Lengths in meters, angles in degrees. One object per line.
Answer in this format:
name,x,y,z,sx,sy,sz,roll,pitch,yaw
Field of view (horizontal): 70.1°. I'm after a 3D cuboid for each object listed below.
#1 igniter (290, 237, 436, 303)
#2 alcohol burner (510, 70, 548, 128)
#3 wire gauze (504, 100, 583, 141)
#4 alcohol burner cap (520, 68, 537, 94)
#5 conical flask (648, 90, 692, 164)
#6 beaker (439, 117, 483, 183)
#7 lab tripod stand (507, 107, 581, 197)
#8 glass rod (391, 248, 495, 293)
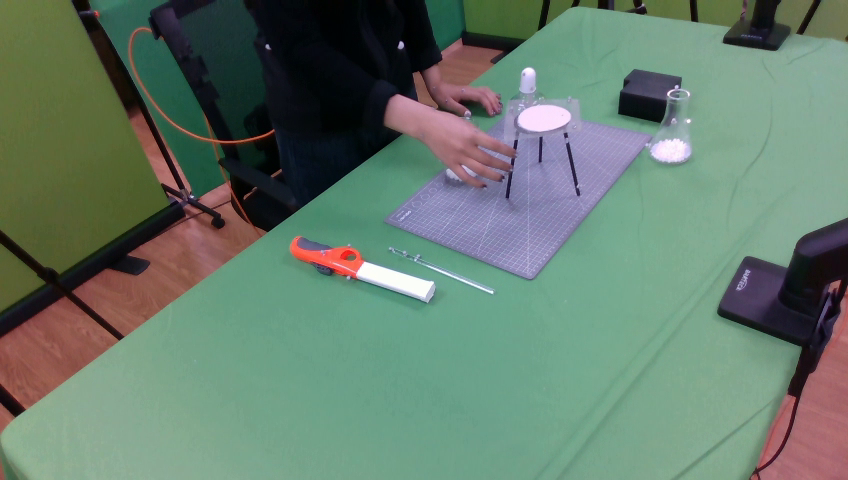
igniter,-0.106,0.044,0.949,0.274,0.025,0.057,16,57,27
alcohol burner,0.209,-0.287,1.208,0.078,0.119,0.077,-5,42,5
wire gauze,0.194,-0.200,0.987,0.121,0.011,0.124,-1,39,12
alcohol burner cap,0.205,-0.313,1.183,0.034,0.048,0.033,-3,50,4
conical flask,0.437,-0.199,1.057,0.075,0.122,0.075,-5,40,5
beaker,0.068,-0.160,1.097,0.073,0.101,0.084,7,43,19
lab tripod stand,0.201,-0.151,1.033,0.148,0.132,0.147,-7,39,6
glass rod,0.026,0.045,0.935,0.198,0.008,0.008,21,49,32
